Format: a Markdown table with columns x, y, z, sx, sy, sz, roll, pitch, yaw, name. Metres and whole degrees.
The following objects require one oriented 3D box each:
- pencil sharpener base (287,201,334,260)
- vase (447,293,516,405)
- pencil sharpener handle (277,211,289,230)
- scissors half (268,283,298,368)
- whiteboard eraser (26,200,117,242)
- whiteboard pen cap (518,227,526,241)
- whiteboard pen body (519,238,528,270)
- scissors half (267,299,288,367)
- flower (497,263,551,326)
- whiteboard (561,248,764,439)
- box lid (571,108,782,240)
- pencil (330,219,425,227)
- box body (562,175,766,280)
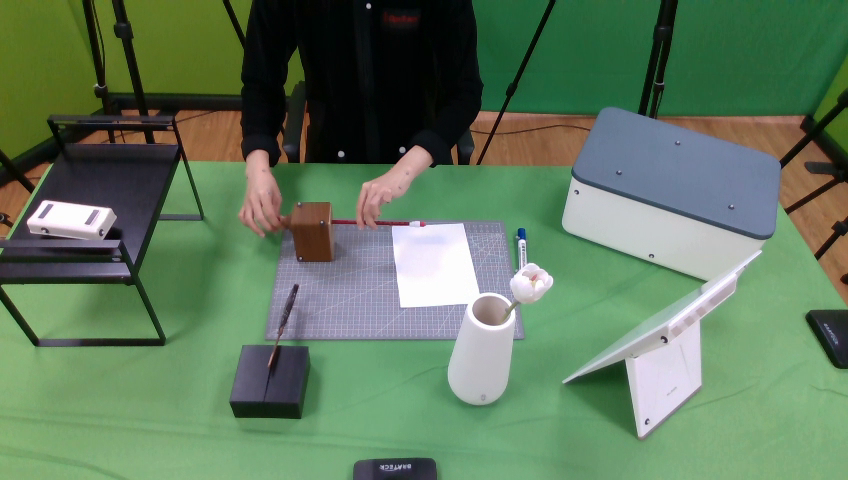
| x | y | z | sx | sy | sz | roll | pitch | yaw | name |
| --- | --- | --- | --- | --- | --- | --- | --- | --- | --- |
| -0.211 | -0.016 | 1.133 | 0.077 | 0.107 | 0.061 | -1 | 47 | -4 | pencil sharpener base |
| 0.091 | 0.169 | 0.921 | 0.098 | 0.201 | 0.097 | 3 | 47 | -3 | vase |
| -0.262 | -0.033 | 1.124 | 0.031 | 0.068 | 0.036 | -1 | 86 | -4 | pencil sharpener handle |
| -0.230 | 0.135 | 0.986 | 0.013 | 0.040 | 0.174 | 19 | 43 | -11 | scissors half |
| -0.532 | -0.026 | 0.919 | 0.113 | 0.042 | 0.055 | 7 | 45 | 3 | whiteboard eraser |
| 0.197 | -0.009 | 1.220 | 0.018 | 0.018 | 0.033 | 5 | 51 | 1 | whiteboard pen cap |
| 0.193 | 0.035 | 1.181 | 0.017 | 0.017 | 0.140 | 6 | 48 | 1 | whiteboard pen body |
| -0.239 | 0.150 | 0.997 | 0.013 | 0.040 | 0.174 | 24 | 24 | -13 | scissors half |
| 0.102 | 0.121 | 0.852 | 0.044 | 0.363 | 0.038 | -2 | 64 | -10 | flower |
| 0.386 | 0.176 | 0.905 | 0.217 | 0.306 | 0.143 | -26 | 72 | -27 | whiteboard |
| 0.491 | -0.139 | 1.168 | 0.370 | 0.015 | 0.262 | 21 | 49 | 15 | box lid |
| -0.096 | -0.033 | 1.121 | 0.194 | 0.012 | 0.012 | 2 | 46 | -3 | pencil |
| 0.486 | -0.088 | 1.222 | 0.363 | 0.161 | 0.253 | 20 | 48 | 15 | box body |
